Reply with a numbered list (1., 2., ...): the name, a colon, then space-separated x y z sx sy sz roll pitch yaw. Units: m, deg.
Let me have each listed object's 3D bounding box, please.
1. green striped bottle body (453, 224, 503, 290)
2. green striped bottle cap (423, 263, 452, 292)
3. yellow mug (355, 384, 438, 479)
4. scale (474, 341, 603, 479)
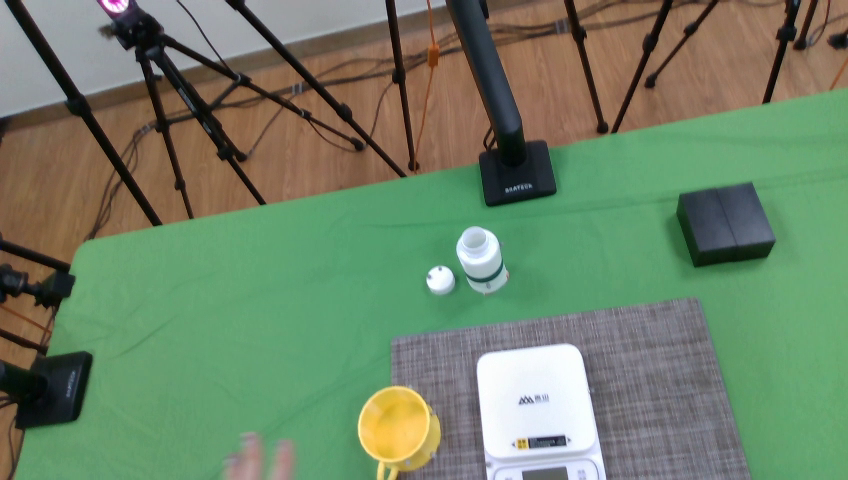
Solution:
1. green striped bottle body: 0.080 0.023 0.903 0.063 0.120 0.062 -7 58 12
2. green striped bottle cap: 0.022 0.059 0.961 0.044 0.020 0.044 -5 65 11
3. yellow mug: -0.040 0.268 0.820 0.099 0.064 0.130 7 63 19
4. scale: 0.148 0.237 0.807 0.148 0.032 0.199 -10 59 10
